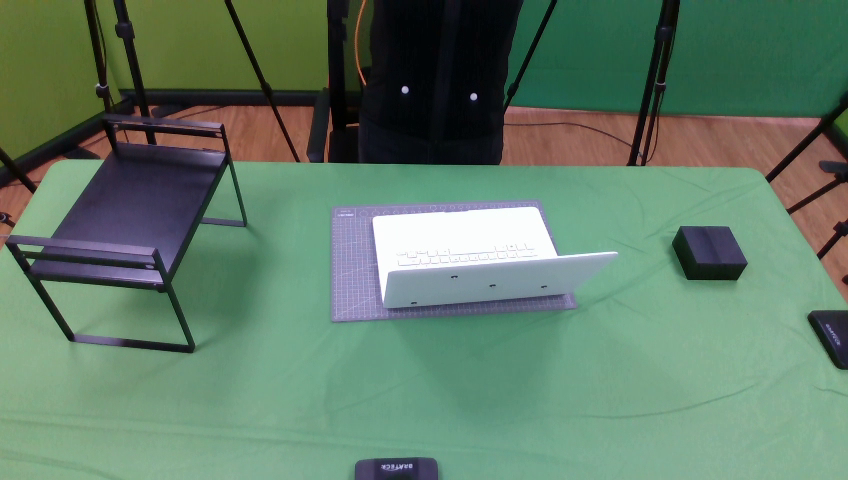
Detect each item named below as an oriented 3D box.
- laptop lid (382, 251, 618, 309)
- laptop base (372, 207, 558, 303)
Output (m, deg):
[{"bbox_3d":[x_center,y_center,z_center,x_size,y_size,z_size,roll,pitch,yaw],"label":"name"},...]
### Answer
[{"bbox_3d":[0.110,0.070,0.989,0.357,0.242,0.013,-4,70,-9],"label":"laptop lid"},{"bbox_3d":[0.083,0.027,1.178,0.355,0.023,0.234,-4,43,-8],"label":"laptop base"}]
